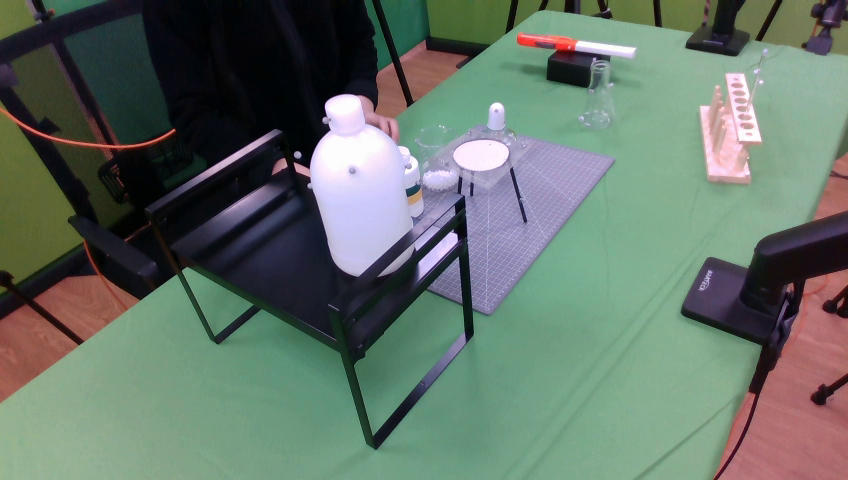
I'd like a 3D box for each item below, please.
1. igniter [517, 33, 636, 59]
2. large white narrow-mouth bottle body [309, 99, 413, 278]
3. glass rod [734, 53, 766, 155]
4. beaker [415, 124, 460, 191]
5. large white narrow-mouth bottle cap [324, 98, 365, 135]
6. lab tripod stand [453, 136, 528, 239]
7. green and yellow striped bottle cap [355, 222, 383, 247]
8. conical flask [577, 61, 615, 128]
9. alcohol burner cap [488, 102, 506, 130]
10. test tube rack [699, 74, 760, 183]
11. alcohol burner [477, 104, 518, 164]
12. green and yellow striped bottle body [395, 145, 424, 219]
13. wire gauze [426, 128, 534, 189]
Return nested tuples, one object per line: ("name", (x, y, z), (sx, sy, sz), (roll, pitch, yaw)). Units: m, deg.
("igniter", (0.336, -0.441, 1.369), (0.275, 0.025, 0.057), (16, 41, 23))
("large white narrow-mouth bottle body", (-0.068, -0.057, 0.644), (0.102, 0.195, 0.101), (-3, 42, 4))
("glass rod", (0.540, -0.220, 1.007), (0.008, 0.201, 0.008), (-5, 46, 6))
("beaker", (0.027, -0.147, 1.081), (0.073, 0.100, 0.084), (12, 43, 21))
("large white narrow-mouth bottle cap", (-0.076, -0.120, 0.585), (0.038, 0.024, 0.037), (-3, 42, 3))
("lab tripod stand", (0.094, -0.086, 0.974), (0.148, 0.132, 0.147), (-4, 42, 4))
("green and yellow striped bottle cap", (-0.092, -0.009, 1.001), (0.045, 0.020, 0.045), (-2, 39, 2))
("conical flask", (0.343, -0.288, 1.188), (0.075, 0.122, 0.075), (-4, 41, 4))
("alcohol burner cap", (0.133, -0.227, 1.092), (0.034, 0.048, 0.033), (-1, 47, 2))
("test tube rack", (0.547, -0.208, 1.095), (0.066, 0.085, 0.242), (6, 42, 16))
("alcohol burner", (0.135, -0.200, 1.117), (0.078, 0.119, 0.077), (-4, 43, 4))
("green and yellow striped bottle body", (-0.036, -0.099, 1.017), (0.063, 0.120, 0.063), (-4, 41, 4))
("wire gauze", (0.086, -0.131, 0.924), (0.124, 0.011, 0.122), (26, 52, 33))
